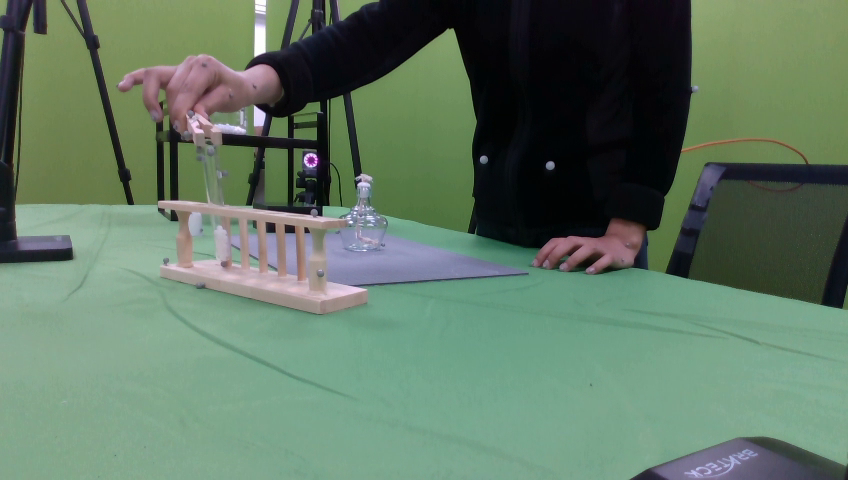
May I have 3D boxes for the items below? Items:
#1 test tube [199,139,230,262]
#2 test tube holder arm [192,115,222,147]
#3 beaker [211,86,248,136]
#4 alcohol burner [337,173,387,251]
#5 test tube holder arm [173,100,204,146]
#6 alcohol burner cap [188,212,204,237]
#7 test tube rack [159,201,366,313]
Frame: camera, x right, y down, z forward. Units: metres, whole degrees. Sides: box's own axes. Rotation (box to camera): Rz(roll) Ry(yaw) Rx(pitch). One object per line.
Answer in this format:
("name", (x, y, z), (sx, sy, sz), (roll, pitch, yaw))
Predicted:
("test tube", (-0.216, -0.036, 0.628), (0.017, 0.150, 0.017), (5, 38, -3))
("test tube holder arm", (-0.221, -0.109, 0.602), (0.010, 0.015, 0.087), (-1, 22, -39))
("beaker", (-0.413, -0.274, 1.297), (0.074, 0.100, 0.083), (-5, 11, -44))
("alcohol burner", (-0.095, -0.043, 0.926), (0.078, 0.119, 0.078), (3, 6, 0))
("test tube holder arm", (-0.248, -0.126, 0.634), (0.013, 0.015, 0.177), (4, 20, -31))
("alcohol burner cap", (-0.390, -0.029, 1.025), (0.034, 0.048, 0.034), (2, 8, 0))
("test tube rack", (-0.173, 0.009, 0.624), (0.241, 0.085, 0.067), (7, 9, 34))
